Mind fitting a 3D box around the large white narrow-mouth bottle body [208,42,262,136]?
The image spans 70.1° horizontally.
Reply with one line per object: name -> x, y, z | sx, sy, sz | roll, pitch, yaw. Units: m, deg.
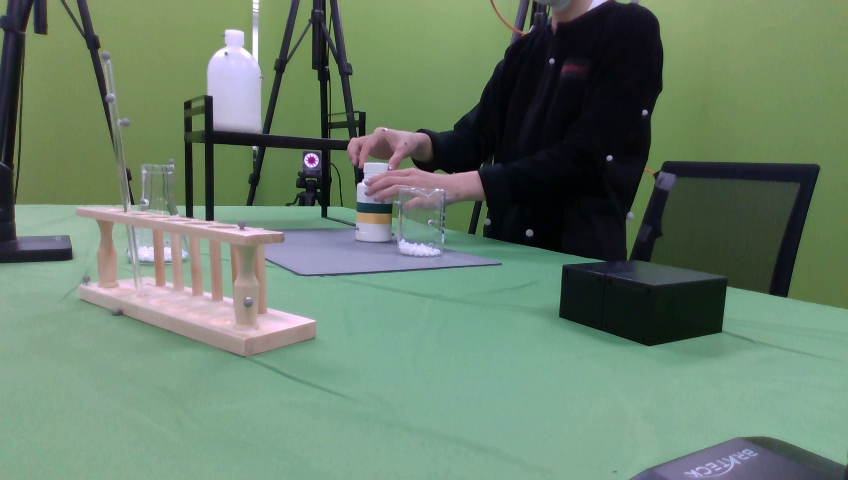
large white narrow-mouth bottle body -> -0.368, -0.304, 1.181 | 0.102, 0.194, 0.101 | 2, 9, 0

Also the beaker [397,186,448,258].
beaker -> -0.002, -0.027, 0.890 | 0.074, 0.100, 0.084 | 0, 8, -11

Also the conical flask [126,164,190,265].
conical flask -> -0.332, -0.033, 0.756 | 0.075, 0.122, 0.075 | 2, 7, 0

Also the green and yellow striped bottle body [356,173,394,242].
green and yellow striped bottle body -> -0.083, -0.058, 1.028 | 0.063, 0.119, 0.063 | 3, 7, 0

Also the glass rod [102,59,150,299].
glass rod -> -0.243, -0.045, 0.496 | 0.008, 0.199, 0.008 | -4, 12, 1

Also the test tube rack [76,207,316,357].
test tube rack -> -0.196, 0.023, 0.500 | 0.241, 0.085, 0.067 | 8, 9, 36

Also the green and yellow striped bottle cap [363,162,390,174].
green and yellow striped bottle cap -> -0.080, -0.121, 1.022 | 0.045, 0.020, 0.045 | 2, 6, 0

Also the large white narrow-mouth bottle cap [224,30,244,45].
large white narrow-mouth bottle cap -> -0.365, -0.389, 1.166 | 0.038, 0.024, 0.037 | 2, 9, 0
